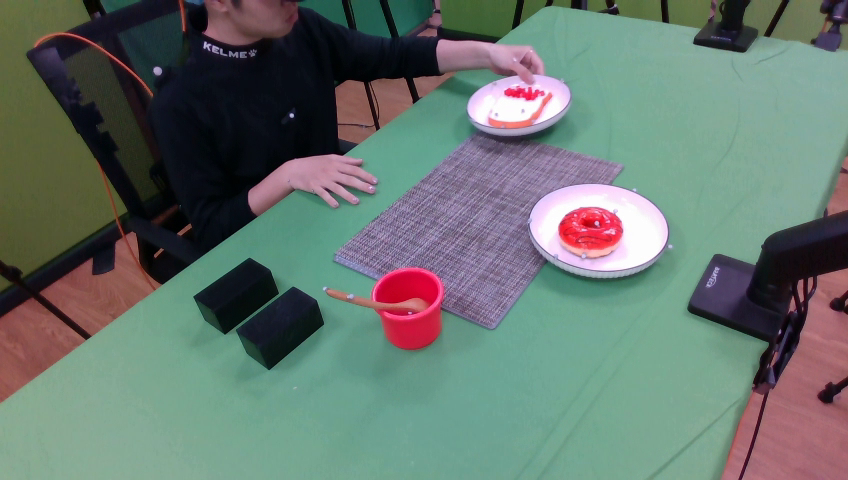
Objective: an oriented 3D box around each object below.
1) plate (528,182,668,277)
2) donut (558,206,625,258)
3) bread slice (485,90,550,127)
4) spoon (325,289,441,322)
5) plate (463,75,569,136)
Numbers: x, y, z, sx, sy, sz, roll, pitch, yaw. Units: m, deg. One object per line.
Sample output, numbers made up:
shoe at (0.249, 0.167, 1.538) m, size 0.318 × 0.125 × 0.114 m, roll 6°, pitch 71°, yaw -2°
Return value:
plate at (0.265, -0.014, 0.933) m, size 0.207 × 0.039 × 0.206 m, roll -3°, pitch 42°, yaw 3°
donut at (0.254, -0.015, 0.917) m, size 0.099 × 0.048 × 0.098 m, roll -5°, pitch 41°, yaw 5°
bread slice at (0.183, -0.264, 1.212) m, size 0.104 × 0.019 × 0.131 m, roll 11°, pitch 44°, yaw 25°
spoon at (-0.047, 0.084, 0.776) m, size 0.195 × 0.021 × 0.041 m, roll 12°, pitch 27°, yaw -42°
plate at (0.185, -0.264, 1.208) m, size 0.209 × 0.038 × 0.208 m, roll -7°, pitch 40°, yaw 6°
